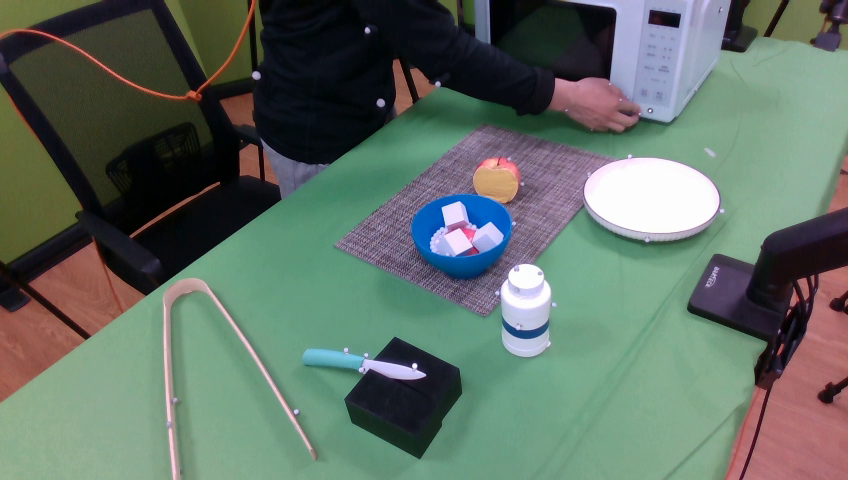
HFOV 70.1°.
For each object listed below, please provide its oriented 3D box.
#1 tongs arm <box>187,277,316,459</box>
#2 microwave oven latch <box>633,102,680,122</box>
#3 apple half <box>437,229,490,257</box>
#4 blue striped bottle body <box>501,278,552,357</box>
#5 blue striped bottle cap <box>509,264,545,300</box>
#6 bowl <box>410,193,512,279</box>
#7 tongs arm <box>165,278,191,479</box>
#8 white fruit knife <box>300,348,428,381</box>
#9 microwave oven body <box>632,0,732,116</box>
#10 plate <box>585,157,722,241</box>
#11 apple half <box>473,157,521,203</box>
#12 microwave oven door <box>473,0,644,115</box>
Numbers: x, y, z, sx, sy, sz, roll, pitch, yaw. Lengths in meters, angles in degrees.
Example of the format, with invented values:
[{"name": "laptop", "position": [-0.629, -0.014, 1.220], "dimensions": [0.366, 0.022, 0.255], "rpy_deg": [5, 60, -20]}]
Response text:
[{"name": "tongs arm", "position": [-0.241, 0.154, 0.815], "dimensions": [0.028, 0.028, 0.384], "rpy_deg": [-31, 46, -21]}, {"name": "microwave oven latch", "position": [0.444, -0.250, 1.158], "dimensions": [0.078, 0.029, 0.030], "rpy_deg": [22, 49, 30]}, {"name": "apple half", "position": [0.056, 0.003, 0.902], "dimensions": [0.081, 0.033, 0.081], "rpy_deg": [-2, 39, 2]}, {"name": "blue striped bottle body", "position": [0.130, 0.089, 0.769], "dimensions": [0.063, 0.121, 0.063], "rpy_deg": [-4, 40, 4]}, {"name": "blue striped bottle cap", "position": [0.125, 0.050, 0.735], "dimensions": [0.044, 0.021, 0.044], "rpy_deg": [-6, 39, 5]}, {"name": "bowl", "position": [0.058, 0.005, 0.905], "dimensions": [0.151, 0.077, 0.150], "rpy_deg": [-4, 40, 4]}, {"name": "tongs arm", "position": [-0.313, 0.181, 0.789], "dimensions": [0.051, 0.026, 0.381], "rpy_deg": [-19, 41, -14]}, {"name": "white fruit knife", "position": [-0.079, 0.154, 0.748], "dimensions": [0.206, 0.027, 0.016], "rpy_deg": [1, 21, 34]}, {"name": "microwave oven body", "position": [0.377, -0.463, 1.267], "dimensions": [0.438, 0.261, 0.327], "rpy_deg": [21, 49, 30]}, {"name": "plate", "position": [0.367, -0.063, 0.979], "dimensions": [0.207, 0.039, 0.206], "rpy_deg": [-4, 40, 4]}, {"name": "apple half", "position": [0.127, -0.106, 1.030], "dimensions": [0.080, 0.075, 0.053], "rpy_deg": [4, 36, 19]}, {"name": "microwave oven door", "position": [0.257, -0.396, 1.199], "dimensions": [0.353, 0.245, 0.039], "rpy_deg": [21, 48, 29]}]
